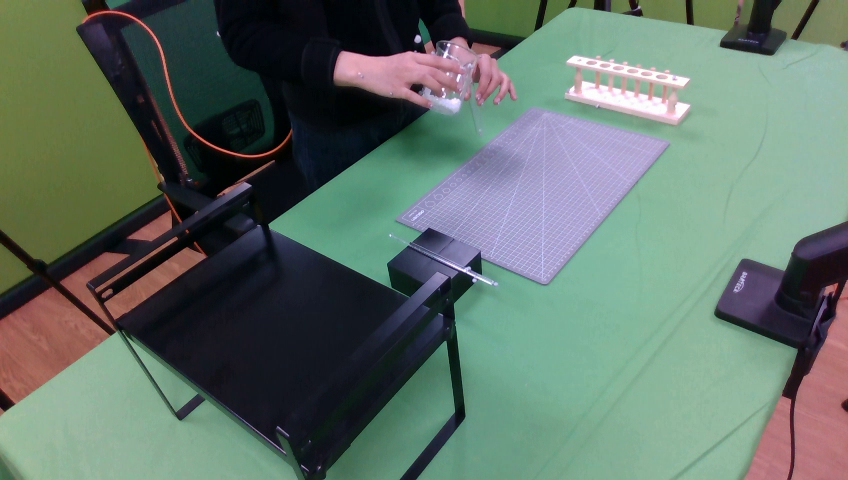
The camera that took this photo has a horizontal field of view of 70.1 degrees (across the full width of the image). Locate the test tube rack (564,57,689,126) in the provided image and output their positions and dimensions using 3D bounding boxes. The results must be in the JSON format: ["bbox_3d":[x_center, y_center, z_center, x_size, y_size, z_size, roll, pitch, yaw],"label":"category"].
[{"bbox_3d":[0.411,-0.311,1.230,0.240,0.085,0.067,24,49,32],"label":"test tube rack"}]

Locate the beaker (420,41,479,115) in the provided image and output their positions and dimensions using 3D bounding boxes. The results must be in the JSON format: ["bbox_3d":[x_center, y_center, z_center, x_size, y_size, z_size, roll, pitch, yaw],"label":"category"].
[{"bbox_3d":[0.040,-0.262,0.994,0.073,0.084,0.100,20,91,20],"label":"beaker"}]

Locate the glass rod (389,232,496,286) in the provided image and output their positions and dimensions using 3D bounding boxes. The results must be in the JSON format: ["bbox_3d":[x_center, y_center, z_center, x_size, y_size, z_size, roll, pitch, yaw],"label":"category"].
[{"bbox_3d":[0.022,0.025,0.878,0.198,0.008,0.008,25,50,33],"label":"glass rod"}]

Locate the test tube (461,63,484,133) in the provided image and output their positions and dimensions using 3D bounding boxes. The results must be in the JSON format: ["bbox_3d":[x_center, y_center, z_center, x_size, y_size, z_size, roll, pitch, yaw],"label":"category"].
[{"bbox_3d":[0.088,-0.252,1.088,0.017,0.151,0.017,-9,48,11],"label":"test tube"}]
